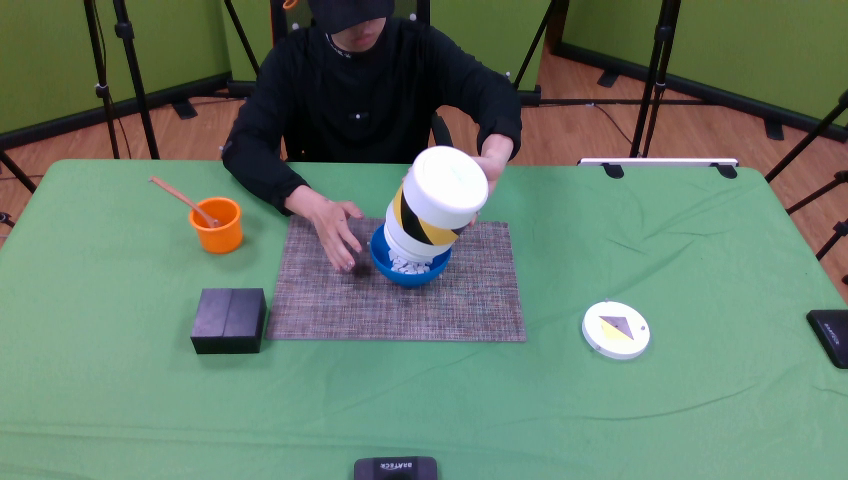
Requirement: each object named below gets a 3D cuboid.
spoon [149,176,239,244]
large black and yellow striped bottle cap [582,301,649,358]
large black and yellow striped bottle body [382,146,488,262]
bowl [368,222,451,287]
[{"bbox_3d":[-0.427,-0.057,1.132,0.021,0.195,0.041,-27,31,34],"label":"spoon"},{"bbox_3d":[0.340,0.157,1.077,0.115,0.019,0.114,1,47,-1],"label":"large black and yellow striped bottle cap"},{"bbox_3d":[0.011,-0.053,1.015,0.131,0.184,0.130,13,54,-18],"label":"large black and yellow striped bottle body"},{"bbox_3d":[-0.027,0.033,1.119,0.151,0.077,0.150,2,45,-2],"label":"bowl"}]
